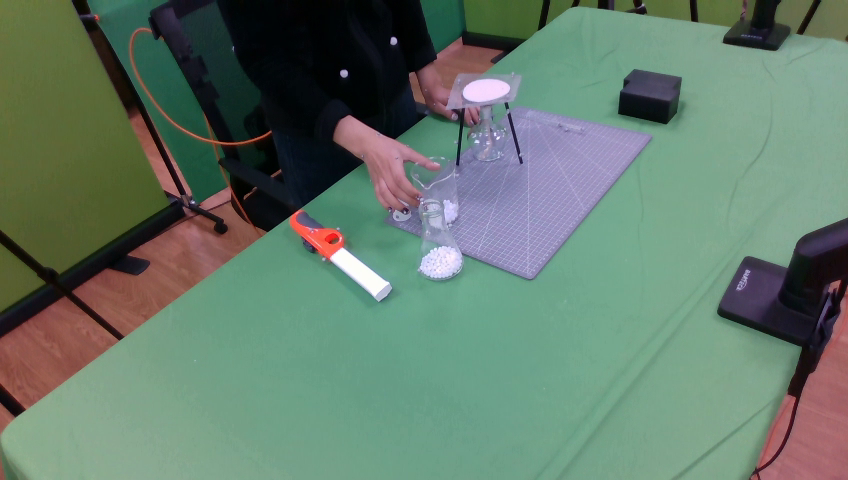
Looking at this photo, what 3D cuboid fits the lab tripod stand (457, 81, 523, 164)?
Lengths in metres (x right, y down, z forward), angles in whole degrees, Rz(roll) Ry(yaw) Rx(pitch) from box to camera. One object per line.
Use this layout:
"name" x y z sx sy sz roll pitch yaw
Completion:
"lab tripod stand" 0.120 -0.219 1.130 0.148 0.132 0.147 -7 39 6

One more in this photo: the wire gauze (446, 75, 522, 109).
"wire gauze" 0.109 -0.269 1.086 0.121 0.011 0.125 2 40 15

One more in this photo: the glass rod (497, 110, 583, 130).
"glass rod" 0.233 -0.245 1.235 0.198 0.008 0.008 21 49 35

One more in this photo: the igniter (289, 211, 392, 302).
"igniter" -0.146 0.019 0.986 0.057 0.025 0.274 -40 48 -18

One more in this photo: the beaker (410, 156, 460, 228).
"beaker" 0.020 -0.076 1.006 0.074 0.101 0.084 3 42 15

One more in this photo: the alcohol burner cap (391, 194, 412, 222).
"alcohol burner cap" -0.041 -0.057 1.040 0.034 0.048 0.033 -6 39 5

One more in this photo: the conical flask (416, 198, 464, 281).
"conical flask" 0.019 -0.004 0.907 0.075 0.122 0.075 -5 40 5

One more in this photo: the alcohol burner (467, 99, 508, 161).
"alcohol burner" 0.119 -0.210 1.134 0.078 0.119 0.077 -4 39 4
